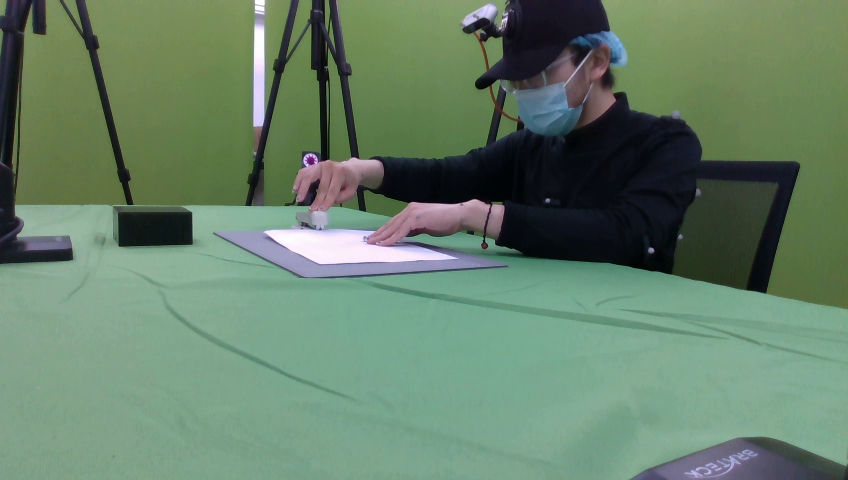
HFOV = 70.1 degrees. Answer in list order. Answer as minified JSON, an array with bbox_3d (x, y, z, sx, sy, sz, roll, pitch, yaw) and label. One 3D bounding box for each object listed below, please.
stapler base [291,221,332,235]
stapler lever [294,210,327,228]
[{"bbox_3d":[-0.207,-0.026,1.111,0.041,0.024,0.130,-3,6,-29],"label":"stapler base"},{"bbox_3d":[-0.208,-0.042,1.109,0.027,0.040,0.117,-3,16,-29],"label":"stapler lever"}]
